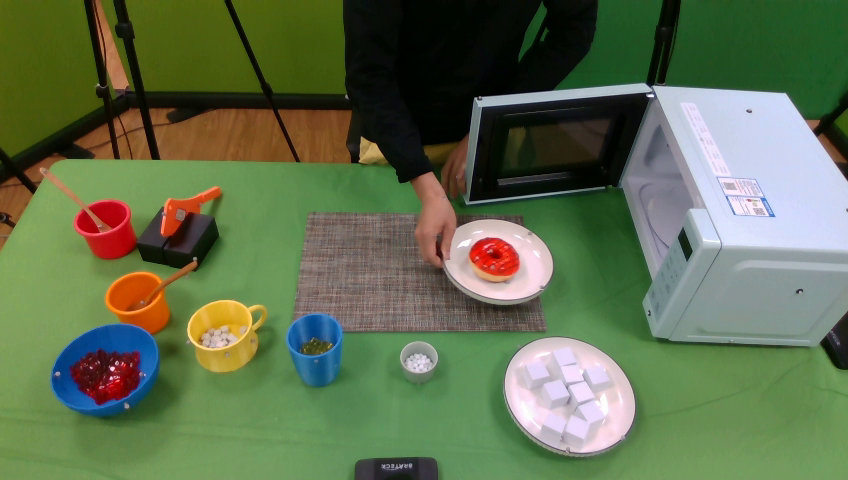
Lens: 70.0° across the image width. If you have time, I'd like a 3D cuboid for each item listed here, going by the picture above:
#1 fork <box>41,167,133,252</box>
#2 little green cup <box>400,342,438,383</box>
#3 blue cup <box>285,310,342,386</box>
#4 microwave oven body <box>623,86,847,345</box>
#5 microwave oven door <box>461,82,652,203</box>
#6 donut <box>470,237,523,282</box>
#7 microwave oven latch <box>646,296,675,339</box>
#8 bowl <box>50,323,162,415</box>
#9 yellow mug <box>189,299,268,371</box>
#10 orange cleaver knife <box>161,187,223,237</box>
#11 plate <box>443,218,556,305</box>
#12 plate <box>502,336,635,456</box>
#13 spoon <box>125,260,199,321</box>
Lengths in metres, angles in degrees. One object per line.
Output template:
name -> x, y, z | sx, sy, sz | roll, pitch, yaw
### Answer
fork -> -0.624, -0.055, 1.121 | 0.208, 0.018, 0.028 | 50, 51, -15
little green cup -> -0.009, 0.202, 0.991 | 0.061, 0.039, 0.061 | 2, 47, -2
blue cup -> -0.170, 0.179, 0.958 | 0.093, 0.101, 0.092 | 2, 44, -1
microwave oven body -> 0.567, -0.053, 1.118 | 0.326, 0.261, 0.439 | 2, 45, -1
microwave oven door -> 0.261, -0.195, 1.227 | 0.356, 0.245, 0.039 | -7, 47, -11
donut -> 0.133, 0.035, 1.108 | 0.099, 0.048, 0.098 | 5, 44, -4
microwave oven latch -> 0.412, 0.134, 1.061 | 0.030, 0.029, 0.078 | 4, 45, 1
bowl -> -0.472, 0.209, 0.924 | 0.151, 0.077, 0.150 | 2, 45, -2
yellow mug -> -0.316, 0.148, 1.002 | 0.131, 0.064, 0.099 | -32, 56, -31
orange cleaver knife -> -0.448, -0.058, 1.181 | 0.012, 0.077, 0.211 | 13, 17, 6
plate -> 0.137, 0.042, 1.116 | 0.209, 0.038, 0.208 | 3, 45, -3
plate -> 0.225, 0.248, 0.963 | 0.208, 0.039, 0.206 | 2, 46, -2
spoon -> -0.434, 0.083, 0.999 | 0.022, 0.194, 0.041 | 35, 34, -35
